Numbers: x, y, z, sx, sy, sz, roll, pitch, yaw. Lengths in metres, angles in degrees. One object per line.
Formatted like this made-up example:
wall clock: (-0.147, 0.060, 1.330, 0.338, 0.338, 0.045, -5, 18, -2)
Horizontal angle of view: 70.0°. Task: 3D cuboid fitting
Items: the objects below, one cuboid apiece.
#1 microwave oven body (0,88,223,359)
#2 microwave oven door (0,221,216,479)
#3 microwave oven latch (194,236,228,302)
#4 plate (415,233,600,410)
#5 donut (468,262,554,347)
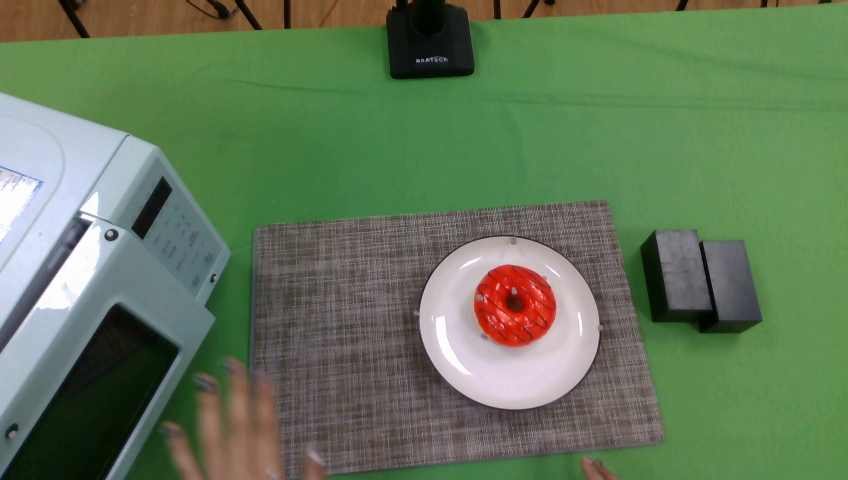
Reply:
microwave oven body: (-0.451, 0.099, 0.557, 0.325, 0.262, 0.439, 18, 68, 5)
microwave oven door: (-0.317, 0.182, 0.521, 0.039, 0.245, 0.354, 21, 68, 8)
microwave oven latch: (-0.254, 0.031, 0.698, 0.030, 0.030, 0.079, 19, 68, 6)
plate: (0.094, 0.092, 0.699, 0.209, 0.038, 0.207, 1, 67, -2)
donut: (0.099, 0.074, 0.695, 0.099, 0.048, 0.098, 1, 68, -3)
